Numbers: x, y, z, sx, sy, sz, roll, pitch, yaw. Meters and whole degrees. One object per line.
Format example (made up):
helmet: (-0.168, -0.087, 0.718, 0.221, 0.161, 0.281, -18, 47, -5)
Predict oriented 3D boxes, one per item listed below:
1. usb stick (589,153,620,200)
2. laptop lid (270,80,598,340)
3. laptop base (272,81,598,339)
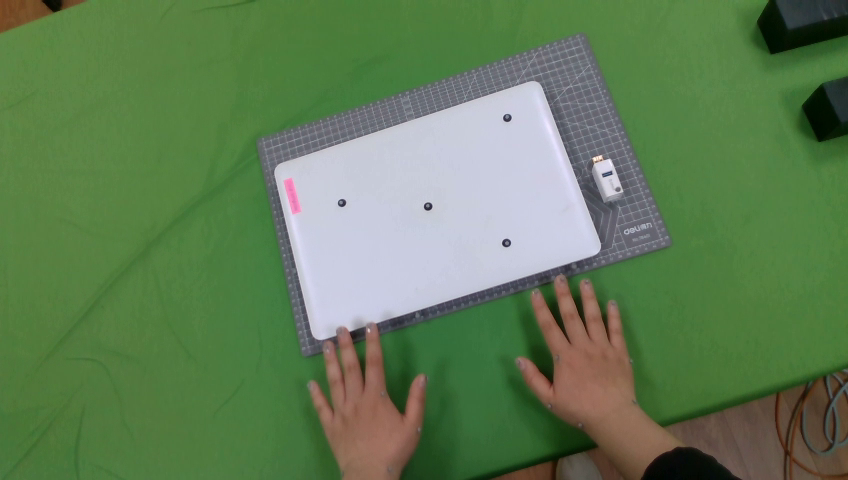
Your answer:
usb stick: (0.210, -0.079, 0.713, 0.021, 0.027, 0.058, -19, 70, 7)
laptop lid: (0.003, -0.041, 0.726, 0.357, 0.013, 0.240, -16, 75, 3)
laptop base: (0.004, -0.040, 0.738, 0.354, 0.023, 0.234, -18, 76, 3)
